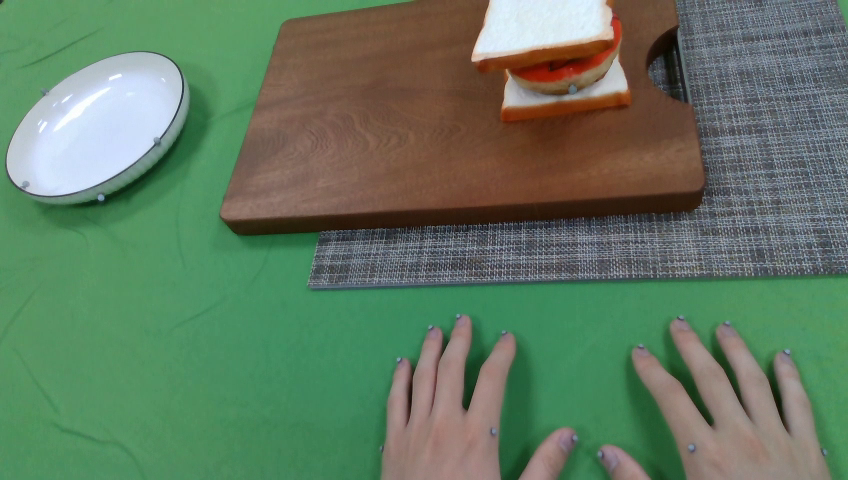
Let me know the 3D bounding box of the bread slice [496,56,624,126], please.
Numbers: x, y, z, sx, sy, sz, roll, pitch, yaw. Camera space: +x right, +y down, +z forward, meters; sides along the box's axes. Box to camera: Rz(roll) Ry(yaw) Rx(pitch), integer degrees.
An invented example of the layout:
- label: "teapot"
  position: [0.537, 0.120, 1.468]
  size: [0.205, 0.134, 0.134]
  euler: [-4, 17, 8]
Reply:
- label: "bread slice"
  position: [0.113, -0.158, 0.534]
  size: [0.105, 0.019, 0.130]
  euler: [-6, 58, 11]

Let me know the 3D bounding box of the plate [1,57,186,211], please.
- label: "plate"
  position: [-0.349, -0.113, 0.655]
  size: [0.209, 0.038, 0.207]
  euler: [-7, 56, 11]

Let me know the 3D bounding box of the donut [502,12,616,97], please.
- label: "donut"
  position: [0.107, -0.161, 0.501]
  size: [0.099, 0.049, 0.098]
  euler: [-8, 56, 13]

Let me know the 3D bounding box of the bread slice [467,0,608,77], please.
- label: "bread slice"
  position: [0.095, -0.185, 0.485]
  size: [0.106, 0.018, 0.133]
  euler: [-4, 54, 24]
